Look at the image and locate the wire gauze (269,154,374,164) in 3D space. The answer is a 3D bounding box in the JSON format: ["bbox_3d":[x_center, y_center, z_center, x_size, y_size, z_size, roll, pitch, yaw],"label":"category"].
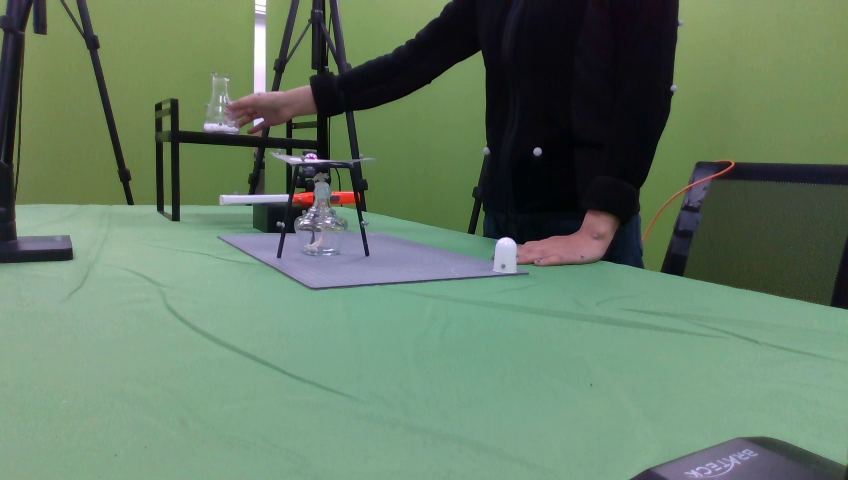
[{"bbox_3d":[-0.146,-0.114,0.860,0.122,0.011,0.124,-2,9,-28],"label":"wire gauze"}]

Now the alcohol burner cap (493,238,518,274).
[{"bbox_3d":[0.107,0.021,0.785,0.034,0.048,0.034,1,7,0],"label":"alcohol burner cap"}]

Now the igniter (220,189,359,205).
[{"bbox_3d":[-0.246,-0.081,1.158,0.278,0.025,0.057,-5,7,-33],"label":"igniter"}]

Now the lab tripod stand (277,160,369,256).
[{"bbox_3d":[-0.149,-0.046,0.861,0.148,0.131,0.148,3,9,0],"label":"lab tripod stand"}]

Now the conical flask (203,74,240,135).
[{"bbox_3d":[-0.425,-0.284,1.271,0.075,0.122,0.075,3,7,0],"label":"conical flask"}]

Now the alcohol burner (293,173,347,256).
[{"bbox_3d":[-0.148,-0.037,0.868,0.078,0.119,0.078,4,8,0],"label":"alcohol burner"}]
